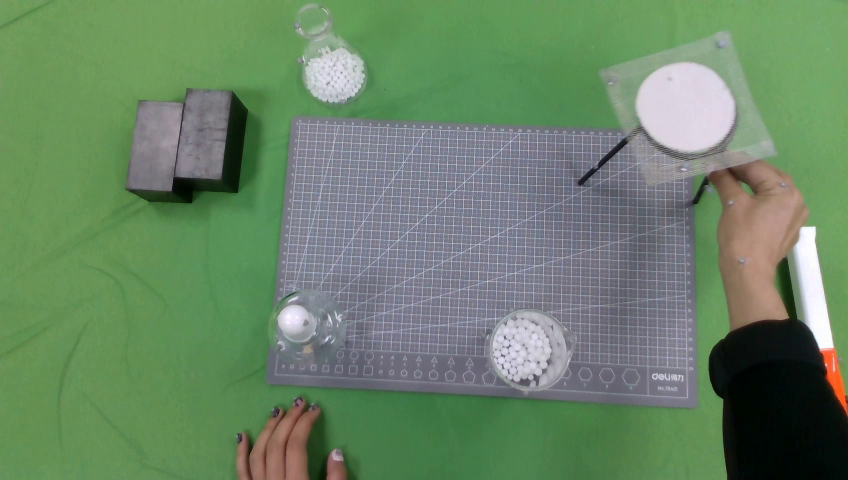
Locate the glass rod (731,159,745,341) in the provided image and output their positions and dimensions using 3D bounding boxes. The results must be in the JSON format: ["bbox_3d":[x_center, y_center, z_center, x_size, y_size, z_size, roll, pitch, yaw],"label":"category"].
[{"bbox_3d":[0.338,0.008,0.652,0.008,0.008,0.199,2,80,2],"label":"glass rod"}]

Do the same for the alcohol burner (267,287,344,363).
[{"bbox_3d":[-0.120,0.082,0.596,0.078,0.119,0.077,0,78,0],"label":"alcohol burner"}]

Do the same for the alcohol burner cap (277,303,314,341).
[{"bbox_3d":[-0.120,0.074,0.561,0.034,0.048,0.033,2,72,-5],"label":"alcohol burner cap"}]

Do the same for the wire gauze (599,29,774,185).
[{"bbox_3d":[0.236,-0.119,0.544,0.125,0.011,0.121,-16,81,0],"label":"wire gauze"}]

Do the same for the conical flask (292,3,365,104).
[{"bbox_3d":[-0.107,-0.201,0.644,0.075,0.122,0.075,0,79,2],"label":"conical flask"}]

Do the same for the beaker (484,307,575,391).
[{"bbox_3d":[0.098,0.105,0.594,0.084,0.100,0.073,-16,80,-1],"label":"beaker"}]

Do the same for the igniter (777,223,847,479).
[{"bbox_3d":[0.402,0.119,0.622,0.057,0.025,0.275,-2,80,-9],"label":"igniter"}]

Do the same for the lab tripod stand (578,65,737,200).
[{"bbox_3d":[0.237,-0.102,0.609,0.148,0.132,0.148,0,80,2],"label":"lab tripod stand"}]
